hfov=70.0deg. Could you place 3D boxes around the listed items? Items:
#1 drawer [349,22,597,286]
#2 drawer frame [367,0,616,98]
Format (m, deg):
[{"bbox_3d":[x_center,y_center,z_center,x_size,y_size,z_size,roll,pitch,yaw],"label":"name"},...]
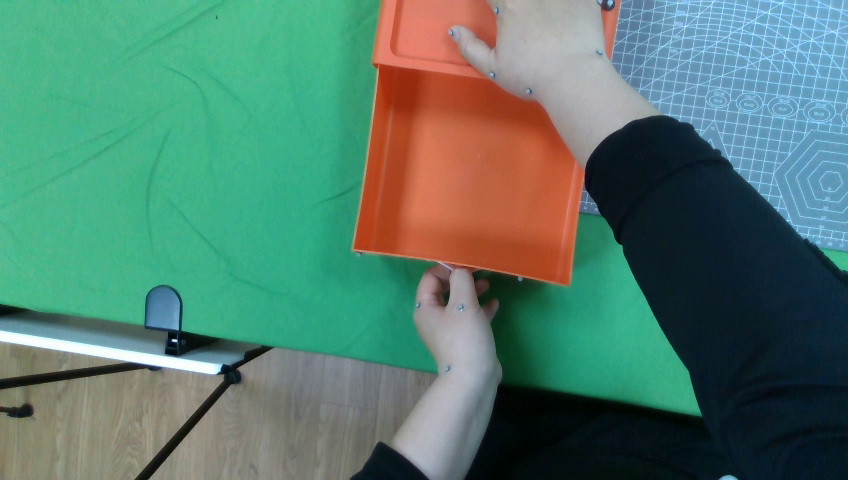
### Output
[{"bbox_3d":[0.046,-0.076,0.548,0.194,0.073,0.212,9,94,7],"label":"drawer"},{"bbox_3d":[0.067,-0.237,0.533,0.201,0.083,0.213,9,95,8],"label":"drawer frame"}]
